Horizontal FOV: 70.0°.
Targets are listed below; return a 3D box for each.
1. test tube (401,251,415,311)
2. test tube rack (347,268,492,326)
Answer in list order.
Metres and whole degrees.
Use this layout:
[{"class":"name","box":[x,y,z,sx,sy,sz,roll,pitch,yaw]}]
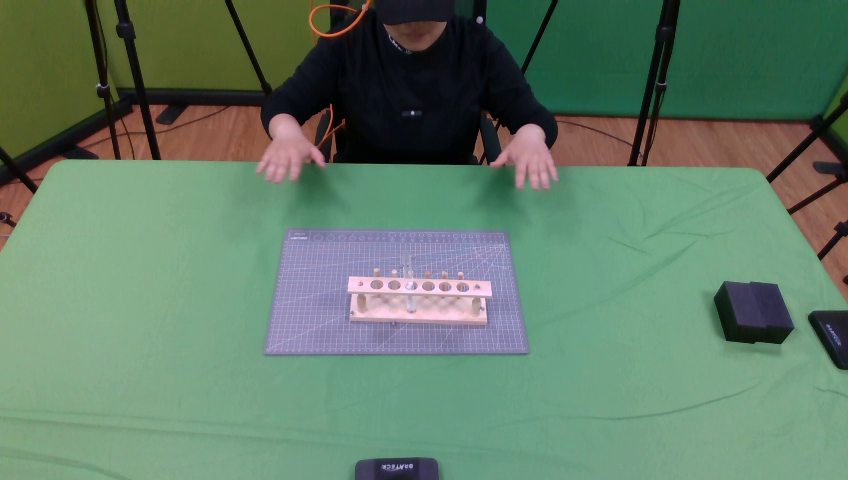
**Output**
[{"class":"test tube","box":[-0.026,0.072,1.011,0.017,0.151,0.017,-1,48,2]},{"class":"test tube rack","box":[-0.009,0.095,1.059,0.242,0.085,0.066,2,46,-2]}]
